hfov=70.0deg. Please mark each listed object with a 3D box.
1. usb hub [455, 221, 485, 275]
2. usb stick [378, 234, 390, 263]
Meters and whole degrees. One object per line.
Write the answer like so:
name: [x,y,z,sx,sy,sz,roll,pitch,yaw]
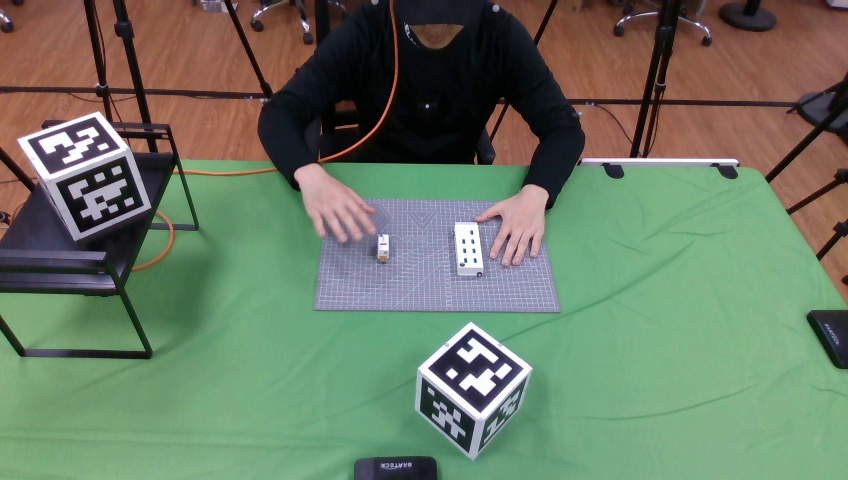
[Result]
usb hub: [0.088,0.014,1.178,0.049,0.025,0.124,1,46,-3]
usb stick: [-0.077,0.017,1.163,0.021,0.027,0.059,0,49,-1]
